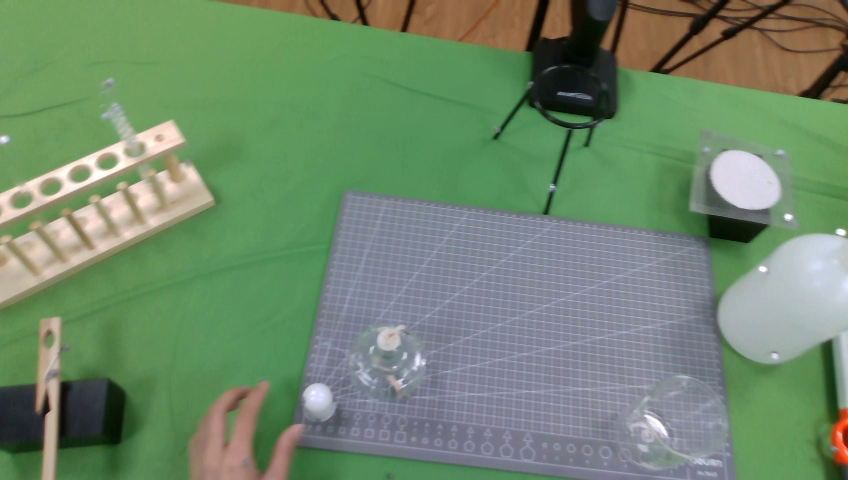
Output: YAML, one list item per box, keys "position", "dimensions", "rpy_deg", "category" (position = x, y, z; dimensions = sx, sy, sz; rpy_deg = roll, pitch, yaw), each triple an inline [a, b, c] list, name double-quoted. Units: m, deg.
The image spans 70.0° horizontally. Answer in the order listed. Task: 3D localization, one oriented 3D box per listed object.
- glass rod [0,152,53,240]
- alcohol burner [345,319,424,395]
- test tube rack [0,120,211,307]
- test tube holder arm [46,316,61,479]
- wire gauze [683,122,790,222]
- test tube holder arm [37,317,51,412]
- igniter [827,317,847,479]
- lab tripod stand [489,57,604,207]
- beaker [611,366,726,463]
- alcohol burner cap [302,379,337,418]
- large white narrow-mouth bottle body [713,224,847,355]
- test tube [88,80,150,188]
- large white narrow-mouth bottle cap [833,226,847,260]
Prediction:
- position: [-0.396, -0.059, 0.582]
  dimensions: [0.008, 0.201, 0.008]
  rpy_deg: [4, 53, -5]
  category: "glass rod"
- position: [-0.037, 0.107, 0.584]
  dimensions: [0.078, 0.120, 0.077]
  rpy_deg: [3, 61, -6]
  category: "alcohol burner"
- position: [-0.363, -0.029, 0.644]
  dimensions: [0.242, 0.086, 0.066]
  rpy_deg: [-30, 69, -19]
  category: "test tube rack"
- position: [-0.329, 0.151, 0.537]
  dimensions: [0.013, 0.015, 0.177]
  rpy_deg: [-8, 64, -19]
  category: "test tube holder arm"
- position: [0.376, -0.082, 0.729]
  dimensions: [0.121, 0.011, 0.124]
  rpy_deg: [14, 62, 2]
  category: "wire gauze"
- position: [-0.347, 0.113, 0.554]
  dimensions: [0.010, 0.015, 0.087]
  rpy_deg: [-8, 64, -19]
  category: "test tube holder arm"
- position: [0.453, 0.183, 0.642]
  dimensions: [0.057, 0.025, 0.274]
  rpy_deg: [18, 62, -7]
  category: "igniter"
- position: [0.151, -0.134, 0.720]
  dimensions: [0.148, 0.132, 0.147]
  rpy_deg: [3, 63, -5]
  category: "lab tripod stand"
- position: [0.226, 0.172, 0.583]
  dimensions: [0.084, 0.101, 0.073]
  rpy_deg: [4, 62, -2]
  category: "beaker"
- position: [-0.104, 0.154, 0.594]
  dimensions: [0.034, 0.048, 0.033]
  rpy_deg: [1, 63, -2]
  category: "alcohol burner cap"
- position: [0.382, 0.043, 0.614]
  dimensions: [0.102, 0.196, 0.101]
  rpy_deg: [2, 62, -3]
  category: "large white narrow-mouth bottle body"
- position: [-0.311, -0.104, 0.630]
  dimensions: [0.017, 0.151, 0.017]
  rpy_deg: [1, 56, -1]
  category: "test tube"
- position: [0.388, 0.001, 0.539]
  dimensions: [0.038, 0.024, 0.037]
  rpy_deg: [2, 62, -3]
  category: "large white narrow-mouth bottle cap"
